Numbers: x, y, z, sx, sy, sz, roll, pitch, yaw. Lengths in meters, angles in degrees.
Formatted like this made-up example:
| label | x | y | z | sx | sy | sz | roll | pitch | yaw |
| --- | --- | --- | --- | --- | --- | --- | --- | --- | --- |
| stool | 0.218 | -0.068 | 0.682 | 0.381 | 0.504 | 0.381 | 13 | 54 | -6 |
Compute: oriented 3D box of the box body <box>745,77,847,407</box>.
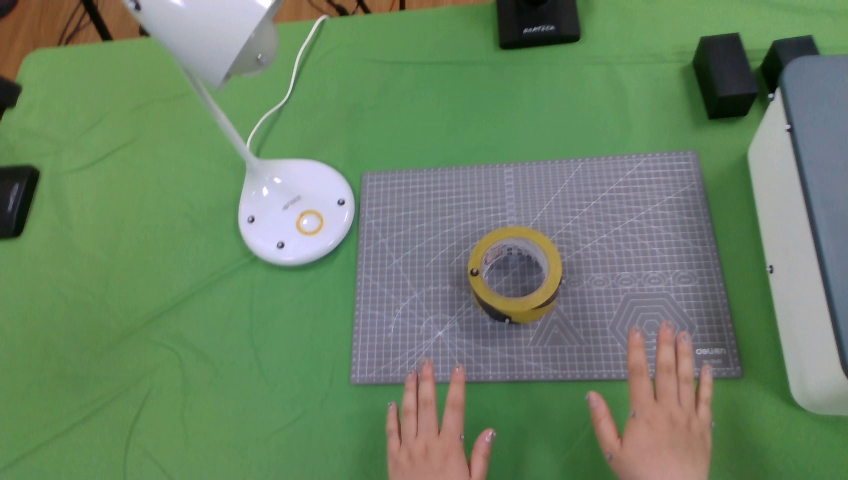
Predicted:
| label | x | y | z | sx | sy | sz | roll | pitch | yaw |
| --- | --- | --- | --- | --- | --- | --- | --- | --- | --- |
| box body | 0.510 | -0.009 | 0.637 | 0.254 | 0.162 | 0.361 | -1 | 66 | 8 |

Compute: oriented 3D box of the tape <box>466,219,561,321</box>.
| label | x | y | z | sx | sy | sz | roll | pitch | yaw |
| --- | --- | --- | --- | --- | --- | --- | --- | --- | --- |
| tape | 0.107 | 0.035 | 0.733 | 0.117 | 0.053 | 0.116 | -3 | 66 | 6 |

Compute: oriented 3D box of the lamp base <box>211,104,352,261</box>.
| label | x | y | z | sx | sy | sz | roll | pitch | yaw |
| --- | --- | --- | --- | --- | --- | --- | --- | --- | --- |
| lamp base | -0.197 | -0.083 | 0.760 | 0.178 | 0.182 | 0.160 | 35 | 75 | 23 |

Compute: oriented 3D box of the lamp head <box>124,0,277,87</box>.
| label | x | y | z | sx | sy | sz | roll | pitch | yaw |
| --- | --- | --- | --- | --- | --- | --- | --- | --- | --- |
| lamp head | -0.186 | -0.201 | 0.485 | 0.123 | 0.112 | 0.112 | 32 | 71 | -16 |

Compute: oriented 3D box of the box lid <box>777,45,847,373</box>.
| label | x | y | z | sx | sy | sz | roll | pitch | yaw |
| --- | --- | --- | --- | --- | --- | --- | --- | --- | --- |
| box lid | 0.501 | -0.041 | 0.571 | 0.263 | 0.015 | 0.368 | -1 | 67 | 8 |
